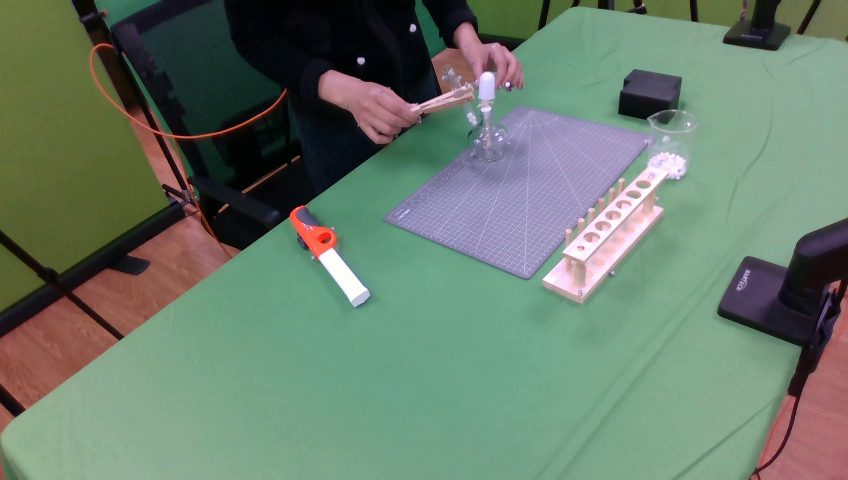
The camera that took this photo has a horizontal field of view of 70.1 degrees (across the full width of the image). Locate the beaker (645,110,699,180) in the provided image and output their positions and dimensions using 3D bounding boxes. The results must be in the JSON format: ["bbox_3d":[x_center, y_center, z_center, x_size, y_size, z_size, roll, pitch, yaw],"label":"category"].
[{"bbox_3d":[0.417,-0.160,1.032,0.083,0.101,0.074,25,51,35],"label":"beaker"}]

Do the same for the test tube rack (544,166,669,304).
[{"bbox_3d":[0.274,-0.018,0.903,0.066,0.085,0.243,26,51,35],"label":"test tube rack"}]

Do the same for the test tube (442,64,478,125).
[{"bbox_3d":[0.060,-0.227,0.960,0.017,0.151,0.017,-8,65,19],"label":"test tube"}]

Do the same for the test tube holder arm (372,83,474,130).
[{"bbox_3d":[-0.004,-0.215,0.979,0.178,0.015,0.013,-17,60,19],"label":"test tube holder arm"}]

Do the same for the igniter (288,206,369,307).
[{"bbox_3d":[-0.163,0.018,0.986,0.057,0.025,0.274,-33,45,-12],"label":"igniter"}]

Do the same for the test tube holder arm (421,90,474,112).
[{"bbox_3d":[0.037,-0.220,0.962,0.087,0.015,0.010,-10,63,22],"label":"test tube holder arm"}]

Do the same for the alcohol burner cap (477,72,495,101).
[{"bbox_3d":[0.113,-0.280,1.094,0.034,0.048,0.033,0,35,0],"label":"alcohol burner cap"}]

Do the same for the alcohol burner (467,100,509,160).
[{"bbox_3d":[0.118,-0.210,1.131,0.078,0.119,0.077,-6,42,5],"label":"alcohol burner"}]
